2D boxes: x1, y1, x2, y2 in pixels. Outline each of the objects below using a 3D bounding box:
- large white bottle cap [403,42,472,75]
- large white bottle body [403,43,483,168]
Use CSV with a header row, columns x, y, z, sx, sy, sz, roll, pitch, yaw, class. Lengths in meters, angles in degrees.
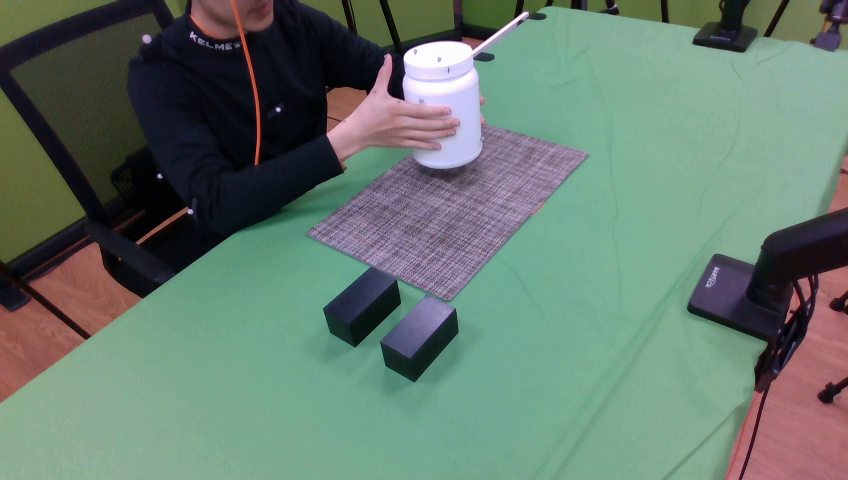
x,y,z,sx,sy,sz,roll,pitch,yaw,class
0.022,-0.301,1.001,0.115,0.018,0.114,-5,36,4,large white bottle cap
0.033,-0.234,1.050,0.130,0.185,0.130,-5,37,4,large white bottle body
